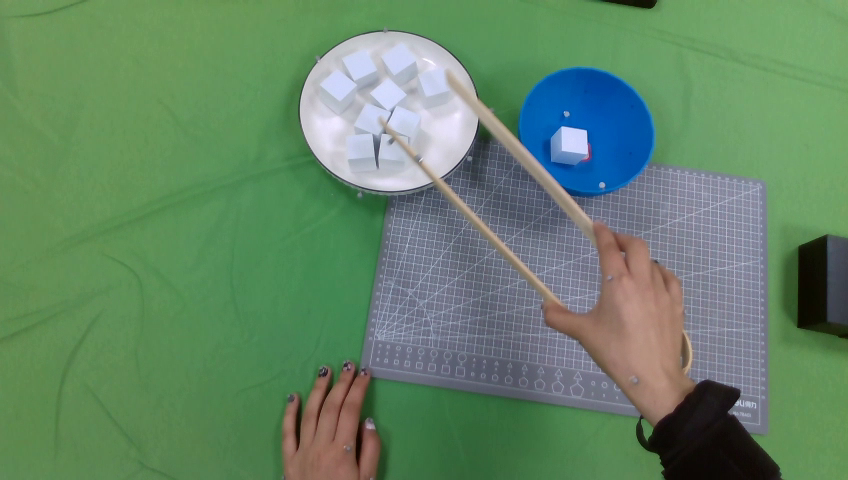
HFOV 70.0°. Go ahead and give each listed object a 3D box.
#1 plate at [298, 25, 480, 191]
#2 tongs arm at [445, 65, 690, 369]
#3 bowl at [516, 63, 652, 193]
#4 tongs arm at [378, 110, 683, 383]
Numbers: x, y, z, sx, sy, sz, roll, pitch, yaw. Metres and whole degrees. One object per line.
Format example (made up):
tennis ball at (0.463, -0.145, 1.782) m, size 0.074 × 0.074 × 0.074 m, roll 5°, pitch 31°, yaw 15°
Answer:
plate at (-0.039, -0.151, 0.709) m, size 0.208 × 0.039 × 0.206 m, roll 1°, pitch 74°, yaw -3°
tongs arm at (0.126, -0.040, 0.590) m, size 0.028 × 0.028 × 0.384 m, roll -31°, pitch 67°, yaw -12°
bowl at (0.172, -0.115, 0.693) m, size 0.151 × 0.077 × 0.150 m, roll 1°, pitch 75°, yaw -4°
tongs arm at (0.085, -0.010, 0.582) m, size 0.051 × 0.027 × 0.381 m, roll -36°, pitch 68°, yaw -10°
